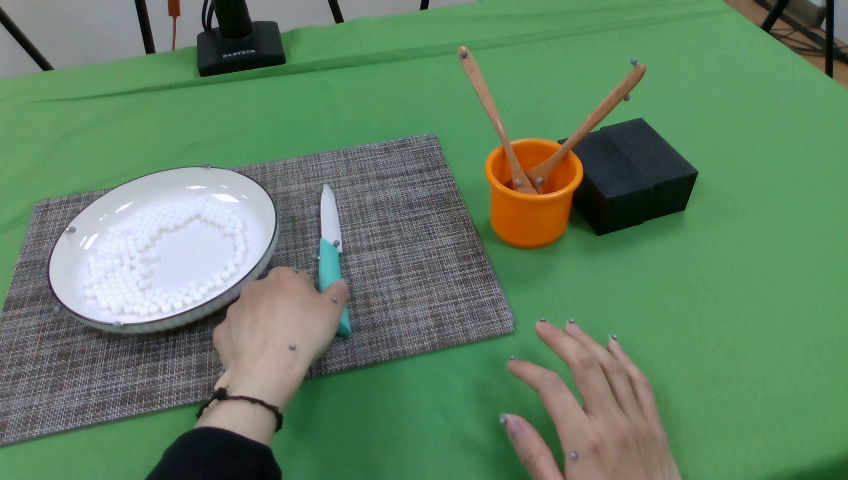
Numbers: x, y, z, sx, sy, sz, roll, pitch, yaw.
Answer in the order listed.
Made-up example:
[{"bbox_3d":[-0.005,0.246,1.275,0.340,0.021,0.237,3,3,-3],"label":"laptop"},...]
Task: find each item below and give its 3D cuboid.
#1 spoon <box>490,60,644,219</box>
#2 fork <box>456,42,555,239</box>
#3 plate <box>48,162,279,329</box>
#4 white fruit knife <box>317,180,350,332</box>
[{"bbox_3d":[0.135,-0.093,0.576,0.041,0.194,0.021,46,24,5],"label":"spoon"},{"bbox_3d":[0.077,-0.097,0.588,0.028,0.018,0.207,-24,94,-5],"label":"fork"},{"bbox_3d":[-0.241,0.004,0.581,0.209,0.038,0.207,-2,46,2],"label":"plate"},{"bbox_3d":[-0.092,0.005,0.587,0.027,0.016,0.205,23,33,-30],"label":"white fruit knife"}]
